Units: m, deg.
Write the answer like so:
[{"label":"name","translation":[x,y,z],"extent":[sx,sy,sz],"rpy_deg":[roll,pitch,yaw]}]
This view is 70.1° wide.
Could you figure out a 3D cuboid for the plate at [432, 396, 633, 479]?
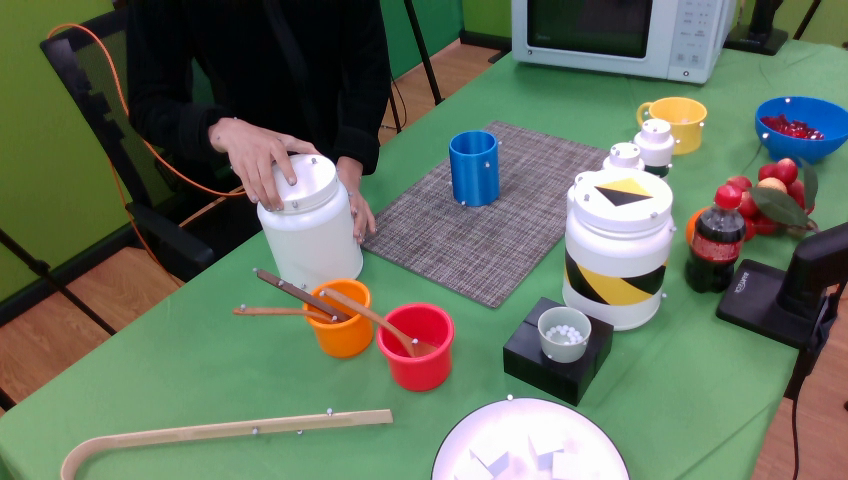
[{"label":"plate","translation":[0.112,0.261,0.634],"extent":[0.209,0.038,0.208],"rpy_deg":[-5,40,4]}]

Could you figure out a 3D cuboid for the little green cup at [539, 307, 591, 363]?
[{"label":"little green cup","translation":[0.167,0.114,0.721],"extent":[0.061,0.039,0.061],"rpy_deg":[-4,43,4]}]

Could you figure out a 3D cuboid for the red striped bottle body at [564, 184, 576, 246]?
[{"label":"red striped bottle body","translation":[0.247,-0.041,0.910],"extent":[0.063,0.120,0.062],"rpy_deg":[-3,39,3]}]

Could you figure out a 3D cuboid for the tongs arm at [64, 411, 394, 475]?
[{"label":"tongs arm","translation":[-0.228,0.240,0.715],"extent":[0.385,0.026,0.050],"rpy_deg":[-4,44,5]}]

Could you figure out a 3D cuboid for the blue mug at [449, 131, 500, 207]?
[{"label":"blue mug","translation":[0.089,-0.132,1.049],"extent":[0.082,0.106,0.116],"rpy_deg":[0,40,9]}]

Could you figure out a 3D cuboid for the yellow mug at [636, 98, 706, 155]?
[{"label":"yellow mug","translation":[0.453,-0.217,1.128],"extent":[0.100,0.064,0.129],"rpy_deg":[-34,46,-27]}]

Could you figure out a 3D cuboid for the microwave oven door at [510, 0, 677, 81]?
[{"label":"microwave oven door","translation":[0.354,-0.478,1.290],"extent":[0.353,0.245,0.039],"rpy_deg":[15,45,25]}]

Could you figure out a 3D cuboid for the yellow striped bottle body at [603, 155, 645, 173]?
[{"label":"yellow striped bottle body","translation":[0.314,-0.090,0.957],"extent":[0.063,0.121,0.062],"rpy_deg":[-4,40,4]}]

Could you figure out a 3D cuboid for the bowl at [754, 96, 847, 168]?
[{"label":"bowl","translation":[0.645,-0.177,1.041],"extent":[0.151,0.077,0.150],"rpy_deg":[-5,40,4]}]

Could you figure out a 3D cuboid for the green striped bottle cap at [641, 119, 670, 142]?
[{"label":"green striped bottle cap","translation":[0.371,-0.175,0.968],"extent":[0.044,0.020,0.044],"rpy_deg":[-7,41,6]}]

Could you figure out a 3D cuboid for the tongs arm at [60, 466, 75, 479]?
[{"label":"tongs arm","translation":[-0.239,0.301,0.649],"extent":[0.386,0.028,0.028],"rpy_deg":[6,49,17]}]

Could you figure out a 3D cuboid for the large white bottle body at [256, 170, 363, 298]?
[{"label":"large white bottle body","translation":[-0.170,-0.018,0.897],"extent":[0.130,0.185,0.130],"rpy_deg":[-4,40,4]}]

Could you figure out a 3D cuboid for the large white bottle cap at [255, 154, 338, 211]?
[{"label":"large white bottle cap","translation":[-0.178,-0.082,0.843],"extent":[0.115,0.018,0.114],"rpy_deg":[-4,41,4]}]

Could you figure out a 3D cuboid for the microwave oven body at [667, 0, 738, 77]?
[{"label":"microwave oven body","translation":[0.462,-0.552,1.369],"extent":[0.439,0.261,0.326],"rpy_deg":[15,45,26]}]

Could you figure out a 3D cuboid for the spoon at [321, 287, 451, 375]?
[{"label":"spoon","translation":[-0.046,0.111,0.757],"extent":[0.194,0.021,0.041],"rpy_deg":[38,47,-15]}]

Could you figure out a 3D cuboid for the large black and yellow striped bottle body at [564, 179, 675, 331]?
[{"label":"large black and yellow striped bottle body","translation":[0.253,0.014,0.793],"extent":[0.131,0.185,0.130],"rpy_deg":[-5,40,4]}]

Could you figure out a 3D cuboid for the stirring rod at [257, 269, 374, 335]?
[{"label":"stirring rod","translation":[-0.143,0.084,0.808],"extent":[0.177,0.006,0.014],"rpy_deg":[30,43,-19]}]

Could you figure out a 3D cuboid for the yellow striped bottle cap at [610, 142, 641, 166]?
[{"label":"yellow striped bottle cap","translation":[0.309,-0.131,0.925],"extent":[0.044,0.019,0.044],"rpy_deg":[-4,45,5]}]

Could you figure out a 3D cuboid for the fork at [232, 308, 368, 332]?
[{"label":"fork","translation":[-0.152,0.101,0.781],"extent":[0.209,0.018,0.028],"rpy_deg":[18,19,-46]}]

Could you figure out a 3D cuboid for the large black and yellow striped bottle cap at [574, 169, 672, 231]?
[{"label":"large black and yellow striped bottle cap","translation":[0.242,-0.051,0.738],"extent":[0.115,0.019,0.114],"rpy_deg":[-4,37,3]}]

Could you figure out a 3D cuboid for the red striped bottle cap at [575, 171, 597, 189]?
[{"label":"red striped bottle cap","translation":[0.242,-0.081,0.876],"extent":[0.044,0.018,0.044],"rpy_deg":[-5,44,5]}]

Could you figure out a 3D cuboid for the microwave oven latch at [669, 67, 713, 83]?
[{"label":"microwave oven latch","translation":[0.556,-0.348,1.262],"extent":[0.078,0.029,0.030],"rpy_deg":[15,46,26]}]

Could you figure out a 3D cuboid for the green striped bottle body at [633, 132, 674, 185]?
[{"label":"green striped bottle body","translation":[0.376,-0.135,1.001],"extent":[0.063,0.120,0.063],"rpy_deg":[-5,40,5]}]
